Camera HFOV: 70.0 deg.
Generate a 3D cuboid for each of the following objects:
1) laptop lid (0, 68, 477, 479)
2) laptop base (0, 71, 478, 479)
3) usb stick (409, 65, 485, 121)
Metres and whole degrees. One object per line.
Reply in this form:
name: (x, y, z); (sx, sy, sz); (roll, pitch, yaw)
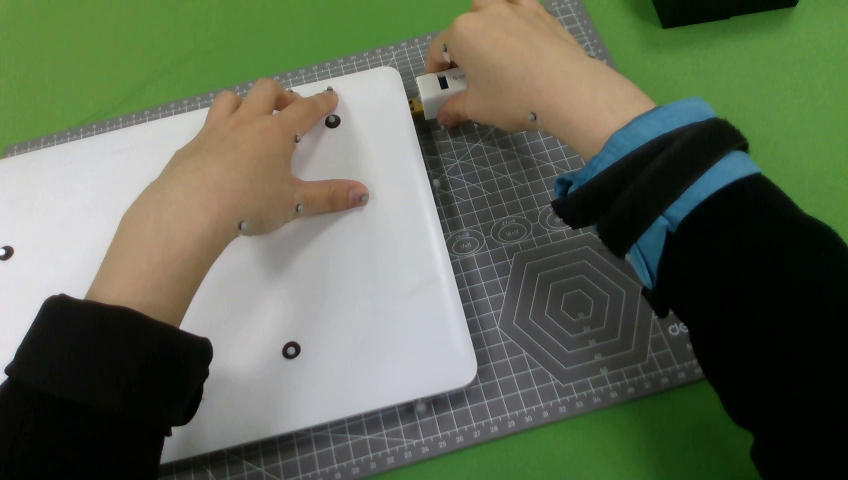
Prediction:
laptop lid: (-0.163, 0.020, 0.380); (0.357, 0.013, 0.239); (-12, 66, 0)
laptop base: (-0.163, 0.023, 0.391); (0.354, 0.023, 0.233); (-14, 68, -1)
usb stick: (0.012, -0.100, 0.417); (0.059, 0.027, 0.021); (-14, 66, 2)
